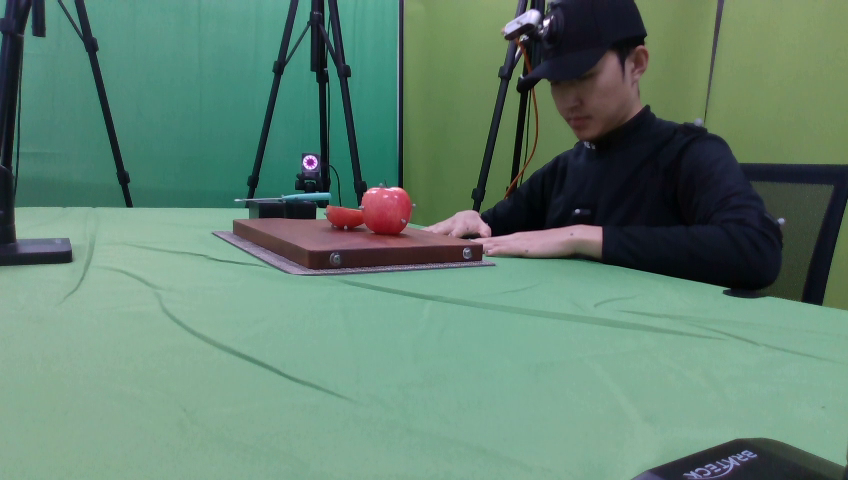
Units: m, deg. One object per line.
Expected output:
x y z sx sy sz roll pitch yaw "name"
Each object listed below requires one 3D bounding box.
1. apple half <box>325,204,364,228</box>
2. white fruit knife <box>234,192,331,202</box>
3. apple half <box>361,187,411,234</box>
-0.128 -0.035 0.990 0.081 0.033 0.081 10 -5 1 "apple half"
-0.295 -0.088 1.281 0.208 0.016 0.027 -6 -2 -26 "white fruit knife"
-0.052 -0.045 0.937 0.081 0.074 0.053 2 10 -39 "apple half"
